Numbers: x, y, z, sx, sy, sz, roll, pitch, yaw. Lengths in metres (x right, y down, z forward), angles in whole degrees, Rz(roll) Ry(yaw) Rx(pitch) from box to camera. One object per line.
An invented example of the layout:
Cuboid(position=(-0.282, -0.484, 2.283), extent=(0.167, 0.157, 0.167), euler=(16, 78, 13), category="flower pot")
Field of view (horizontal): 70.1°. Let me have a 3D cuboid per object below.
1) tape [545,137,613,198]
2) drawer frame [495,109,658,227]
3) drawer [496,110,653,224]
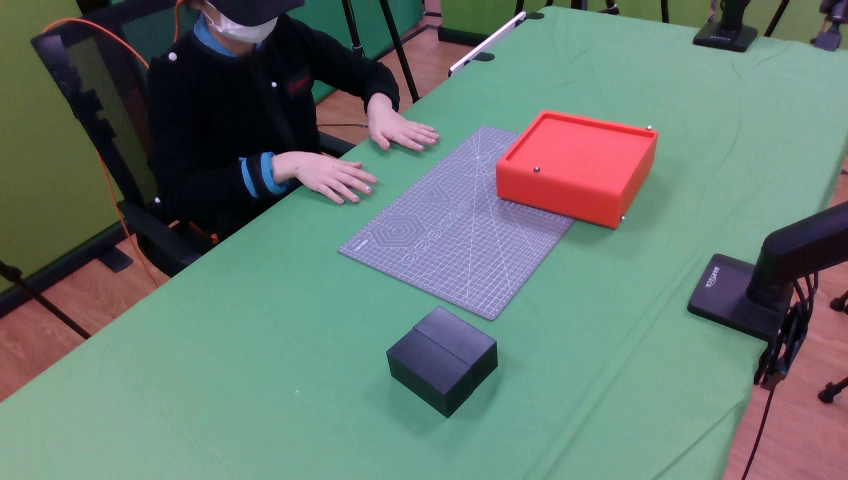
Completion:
Cuboid(position=(0.263, -0.124, 1.034), extent=(0.117, 0.053, 0.116), euler=(-5, 40, 5), category="tape")
Cuboid(position=(0.260, -0.130, 1.031), extent=(0.212, 0.083, 0.202), euler=(18, 46, 26), category="drawer frame")
Cuboid(position=(0.257, -0.130, 1.032), extent=(0.210, 0.073, 0.195), euler=(18, 46, 26), category="drawer")
